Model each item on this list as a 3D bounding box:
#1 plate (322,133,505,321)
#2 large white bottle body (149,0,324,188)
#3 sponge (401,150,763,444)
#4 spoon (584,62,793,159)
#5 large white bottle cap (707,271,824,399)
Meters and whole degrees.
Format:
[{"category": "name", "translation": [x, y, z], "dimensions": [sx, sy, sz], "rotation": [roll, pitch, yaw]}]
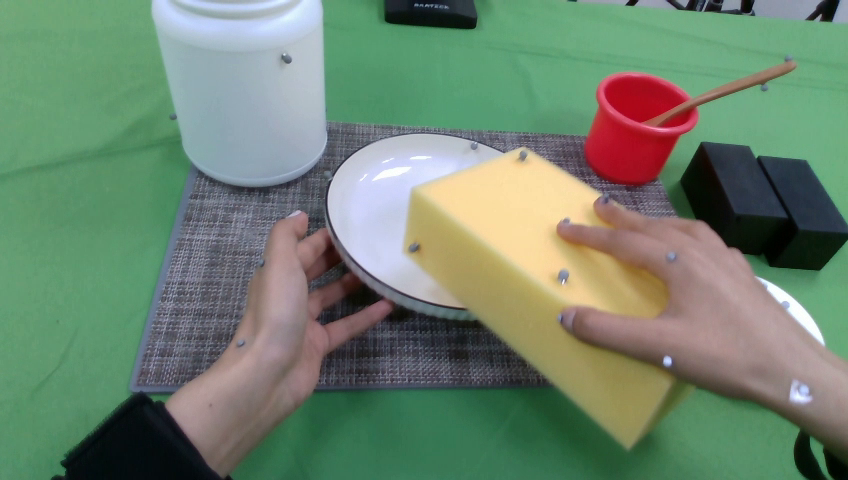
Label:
[{"category": "plate", "translation": [0.020, -0.012, 0.508], "dimensions": [0.209, 0.038, 0.207], "rotation": [8, 45, -8]}, {"category": "large white bottle body", "translation": [-0.152, -0.152, 0.514], "dimensions": [0.131, 0.186, 0.129], "rotation": [4, 48, -4]}, {"category": "sponge", "translation": [0.096, 0.022, 0.412], "dimensions": [0.118, 0.061, 0.205], "rotation": [-25, 50, -36]}, {"category": "spoon", "translation": [0.247, -0.123, 0.580], "dimensions": [0.193, 0.022, 0.041], "rotation": [-24, 38, 29]}, {"category": "large white bottle cap", "translation": [0.263, 0.074, 0.491], "dimensions": [0.115, 0.018, 0.113], "rotation": [6, 48, -6]}]
